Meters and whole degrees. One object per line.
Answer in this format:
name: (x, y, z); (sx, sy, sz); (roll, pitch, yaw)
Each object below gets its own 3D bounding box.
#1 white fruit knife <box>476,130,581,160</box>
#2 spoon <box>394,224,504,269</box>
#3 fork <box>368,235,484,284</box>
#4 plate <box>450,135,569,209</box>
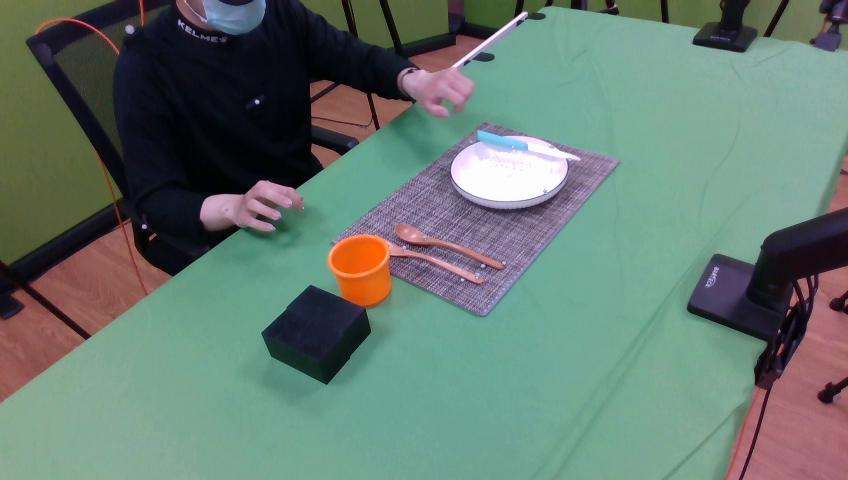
white fruit knife: (0.184, -0.170, 1.089); (0.206, 0.016, 0.027); (18, 42, 25)
spoon: (0.037, 0.010, 0.945); (0.192, 0.022, 0.042); (18, 28, 26)
fork: (0.001, 0.030, 0.930); (0.206, 0.019, 0.028); (18, 41, 28)
plate: (0.149, -0.117, 1.065); (0.209, 0.038, 0.208); (-3, 41, 3)
